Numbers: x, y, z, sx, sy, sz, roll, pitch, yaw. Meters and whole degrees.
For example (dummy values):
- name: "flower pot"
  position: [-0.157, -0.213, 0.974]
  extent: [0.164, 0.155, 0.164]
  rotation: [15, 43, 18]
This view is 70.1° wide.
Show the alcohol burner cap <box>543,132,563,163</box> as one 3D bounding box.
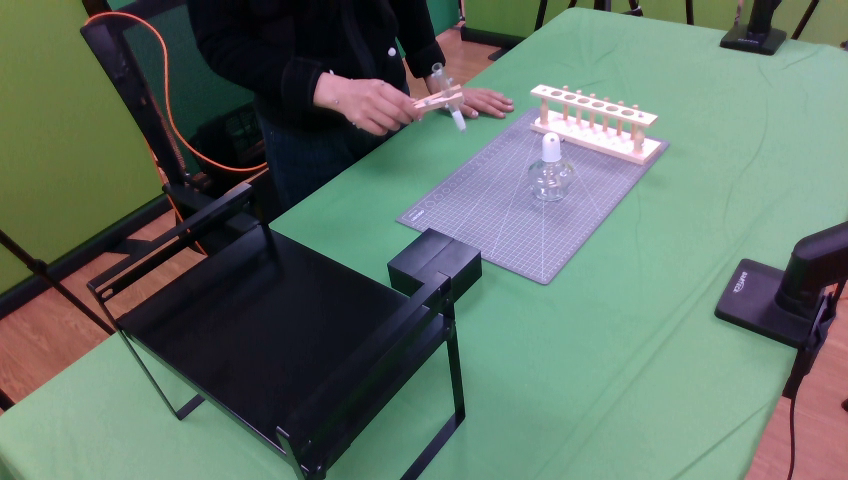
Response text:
- name: "alcohol burner cap"
  position: [0.211, -0.154, 0.994]
  extent: [0.034, 0.048, 0.033]
  rotation: [-7, 35, 6]

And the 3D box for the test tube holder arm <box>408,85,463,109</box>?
- name: "test tube holder arm"
  position: [0.018, -0.218, 0.943]
  extent: [0.088, 0.015, 0.010]
  rotation: [-21, 52, 8]

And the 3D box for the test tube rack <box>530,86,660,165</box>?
- name: "test tube rack"
  position: [0.320, -0.226, 1.140]
  extent: [0.240, 0.085, 0.067]
  rotation: [27, 51, 34]

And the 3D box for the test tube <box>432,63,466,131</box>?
- name: "test tube"
  position: [0.042, -0.219, 0.942]
  extent: [0.017, 0.151, 0.017]
  rotation: [-8, 61, 16]

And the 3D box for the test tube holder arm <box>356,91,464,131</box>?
- name: "test tube holder arm"
  position: [-0.024, -0.201, 0.948]
  extent: [0.178, 0.015, 0.013]
  rotation: [-15, 53, 12]

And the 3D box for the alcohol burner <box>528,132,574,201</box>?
- name: "alcohol burner"
  position: [0.214, -0.126, 1.016]
  extent: [0.078, 0.119, 0.077]
  rotation: [-5, 38, 5]
